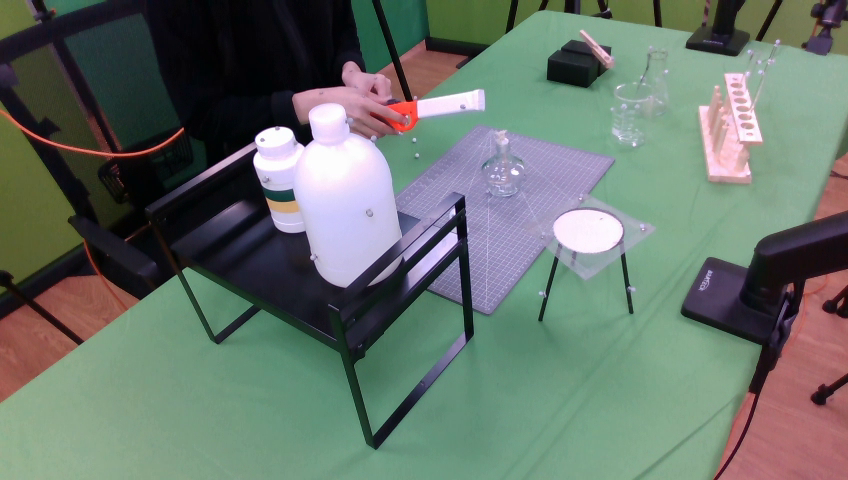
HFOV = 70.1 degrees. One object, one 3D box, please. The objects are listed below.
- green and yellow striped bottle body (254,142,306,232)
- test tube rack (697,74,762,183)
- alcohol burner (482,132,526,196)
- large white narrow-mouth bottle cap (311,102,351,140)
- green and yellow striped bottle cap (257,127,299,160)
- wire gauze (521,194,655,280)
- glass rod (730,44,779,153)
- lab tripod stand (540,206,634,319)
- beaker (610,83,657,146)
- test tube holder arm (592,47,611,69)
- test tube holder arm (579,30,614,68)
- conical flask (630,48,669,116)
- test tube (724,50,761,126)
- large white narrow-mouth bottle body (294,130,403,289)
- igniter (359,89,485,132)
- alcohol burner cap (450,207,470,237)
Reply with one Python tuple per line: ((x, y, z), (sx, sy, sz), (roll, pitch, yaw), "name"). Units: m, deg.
((-0.165, -0.073, 0.732), (0.063, 0.120, 0.063), (-4, 41, 4), "green and yellow striped bottle body")
((0.547, -0.208, 1.094), (0.066, 0.085, 0.242), (5, 42, 15), "test tube rack")
((0.137, -0.136, 1.042), (0.078, 0.119, 0.077), (-4, 43, 4), "alcohol burner")
((-0.089, -0.114, 0.579), (0.038, 0.024, 0.037), (-3, 40, 3), "large white narrow-mouth bottle cap")
((-0.169, -0.112, 0.698), (0.045, 0.020, 0.045), (-5, 40, 5), "green and yellow striped bottle cap")
((0.207, -0.012, 0.772), (0.122, 0.011, 0.124), (-28, 44, -20), "wire gauze")
((0.555, -0.234, 1.020), (0.008, 0.200, 0.008), (2, 40, -1), "glass rod")
((0.218, 0.034, 0.821), (0.148, 0.132, 0.147), (-4, 42, 4), "lab tripod stand")
((0.388, -0.235, 1.138), (0.074, 0.101, 0.083), (-31, 45, -26), "beaker")
((0.386, -0.398, 1.317), (0.010, 0.015, 0.087), (-10, 41, -2), "test tube holder arm")
((0.384, -0.428, 1.351), (0.013, 0.015, 0.177), (-11, 41, -3), "test tube holder arm")
((0.457, -0.317, 1.205), (0.075, 0.122, 0.075), (-4, 41, 4), "conical flask")
((0.570, -0.269, 1.086), (0.017, 0.151, 0.017), (-1, 46, 1), "test tube")
((-0.082, -0.047, 0.634), (0.102, 0.195, 0.101), (-4, 40, 4), "large white narrow-mouth bottle body")
((-0.013, -0.214, 1.004), (0.274, 0.057, 0.025), (1, 6, 43), "igniter")
((0.057, -0.032, 0.987), (0.034, 0.048, 0.033), (-5, 41, 5), "alcohol burner cap")
